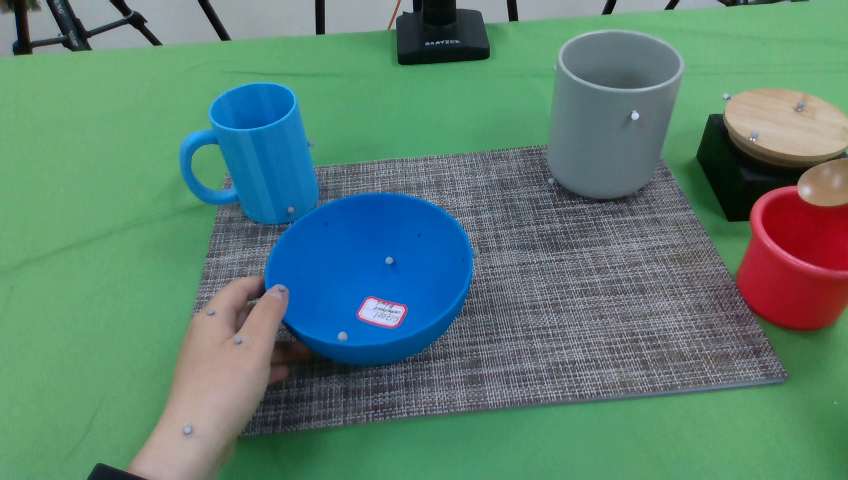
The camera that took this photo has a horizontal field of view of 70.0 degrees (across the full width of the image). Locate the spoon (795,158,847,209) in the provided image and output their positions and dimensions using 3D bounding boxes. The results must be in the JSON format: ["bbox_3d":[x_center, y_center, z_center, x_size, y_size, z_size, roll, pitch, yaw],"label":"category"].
[{"bbox_3d":[0.319,-0.053,0.358,0.022,0.193,0.041,31,68,-15],"label":"spoon"}]

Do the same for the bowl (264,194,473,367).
[{"bbox_3d":[-0.037,0.042,0.461,0.151,0.077,0.150,-2,45,2],"label":"bowl"}]

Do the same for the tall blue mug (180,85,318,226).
[{"bbox_3d":[-0.156,-0.068,0.556,0.077,0.109,0.107,31,55,29],"label":"tall blue mug"}]

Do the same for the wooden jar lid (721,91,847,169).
[{"bbox_3d":[0.329,-0.100,0.555,0.108,0.021,0.107,-2,45,3],"label":"wooden jar lid"}]

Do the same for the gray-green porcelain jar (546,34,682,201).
[{"bbox_3d":[0.170,-0.108,0.563,0.106,0.128,0.105,-2,45,2],"label":"gray-green porcelain jar"}]
